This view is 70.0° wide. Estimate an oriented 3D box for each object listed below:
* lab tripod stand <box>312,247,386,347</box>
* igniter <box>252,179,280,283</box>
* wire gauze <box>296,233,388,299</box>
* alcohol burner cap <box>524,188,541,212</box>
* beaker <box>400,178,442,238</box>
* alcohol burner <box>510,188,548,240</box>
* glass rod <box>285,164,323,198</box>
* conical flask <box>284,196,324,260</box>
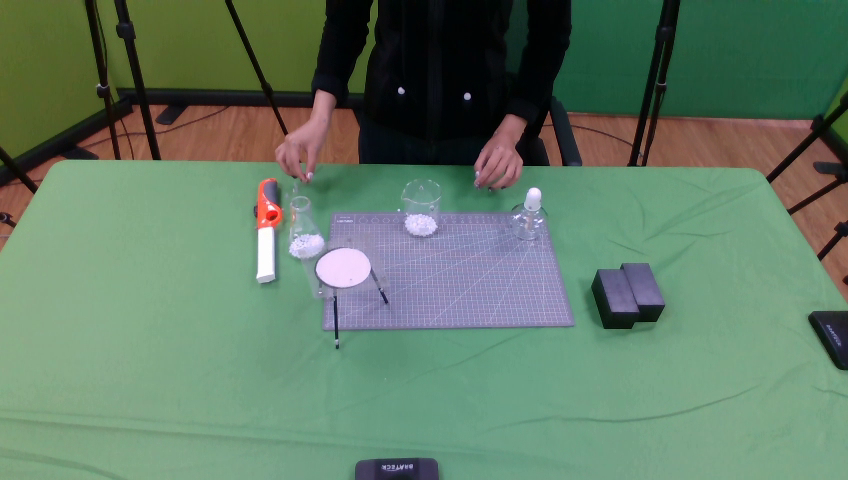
[{"bbox_3d":[-0.134,0.085,1.028,0.148,0.132,0.147,2,45,-1],"label":"lab tripod stand"},{"bbox_3d":[-0.312,-0.027,1.197,0.057,0.025,0.274,-12,47,-1],"label":"igniter"},{"bbox_3d":[-0.133,0.041,0.977,0.125,0.011,0.120,-12,47,-16],"label":"wire gauze"},{"bbox_3d":[0.212,-0.081,1.177,0.034,0.048,0.033,-2,54,2],"label":"alcohol burner cap"},{"bbox_3d":[-0.009,-0.059,1.200,0.084,0.101,0.073,-14,48,-17],"label":"beaker"},{"bbox_3d":[0.211,-0.057,1.204,0.078,0.120,0.077,1,47,-1],"label":"alcohol burner"},{"bbox_3d":[-0.241,-0.122,1.230,0.008,0.008,0.199,11,27,7],"label":"glass rod"},{"bbox_3d":[-0.230,-0.026,1.137,0.075,0.122,0.075,2,45,-2],"label":"conical flask"}]
